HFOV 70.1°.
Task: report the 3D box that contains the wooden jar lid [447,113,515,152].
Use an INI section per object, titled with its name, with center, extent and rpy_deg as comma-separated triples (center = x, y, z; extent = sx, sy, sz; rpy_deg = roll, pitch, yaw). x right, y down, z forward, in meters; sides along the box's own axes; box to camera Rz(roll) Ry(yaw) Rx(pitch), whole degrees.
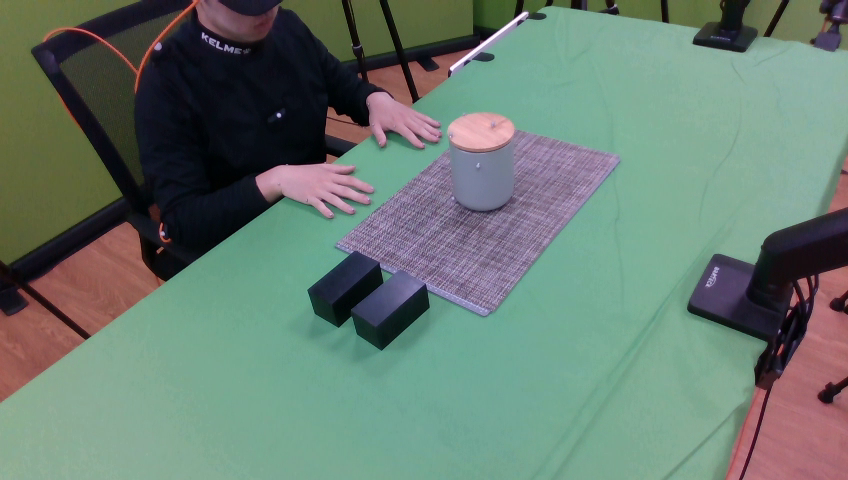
[wooden jar lid]
center = 0.091, -0.169, 0.968
extent = 0.108, 0.021, 0.108
rpy_deg = -4, 42, 4

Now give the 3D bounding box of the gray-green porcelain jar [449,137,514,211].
[gray-green porcelain jar]
center = 0.098, -0.120, 1.008
extent = 0.106, 0.127, 0.105
rpy_deg = -4, 41, 4
